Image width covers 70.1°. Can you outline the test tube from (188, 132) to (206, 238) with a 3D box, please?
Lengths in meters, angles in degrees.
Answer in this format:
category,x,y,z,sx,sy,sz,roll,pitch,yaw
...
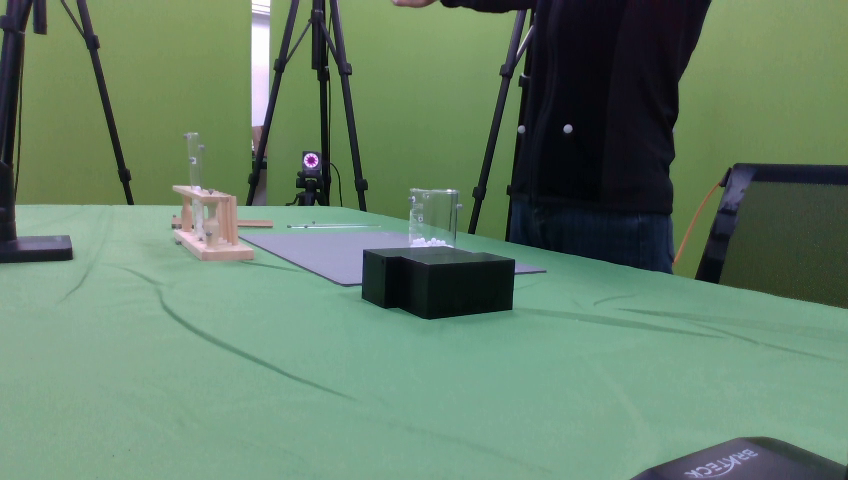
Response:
category,x,y,z,sx,sy,sz,roll,pitch,yaw
test tube,-0.323,-0.077,0.861,0.017,0.150,0.017,-1,8,1

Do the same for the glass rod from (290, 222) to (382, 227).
category,x,y,z,sx,sy,sz,roll,pitch,yaw
glass rod,-0.178,-0.032,1.247,0.201,0.008,0.008,-2,8,-30

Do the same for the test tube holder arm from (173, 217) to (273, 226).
category,x,y,z,sx,sy,sz,roll,pitch,yaw
test tube holder arm,-0.371,-0.033,1.128,0.179,0.015,0.013,-1,-22,-26

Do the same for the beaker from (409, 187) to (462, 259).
category,x,y,z,sx,sy,sz,roll,pitch,yaw
beaker,0.013,-0.027,0.884,0.074,0.100,0.083,0,7,-23

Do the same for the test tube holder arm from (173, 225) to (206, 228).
category,x,y,z,sx,sy,sz,roll,pitch,yaw
test tube holder arm,-0.415,-0.030,1.113,0.088,0.015,0.010,-1,-22,-25

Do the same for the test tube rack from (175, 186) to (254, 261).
category,x,y,z,sx,sy,sz,roll,pitch,yaw
test tube rack,-0.314,-0.031,0.889,0.067,0.085,0.241,-2,8,-30
